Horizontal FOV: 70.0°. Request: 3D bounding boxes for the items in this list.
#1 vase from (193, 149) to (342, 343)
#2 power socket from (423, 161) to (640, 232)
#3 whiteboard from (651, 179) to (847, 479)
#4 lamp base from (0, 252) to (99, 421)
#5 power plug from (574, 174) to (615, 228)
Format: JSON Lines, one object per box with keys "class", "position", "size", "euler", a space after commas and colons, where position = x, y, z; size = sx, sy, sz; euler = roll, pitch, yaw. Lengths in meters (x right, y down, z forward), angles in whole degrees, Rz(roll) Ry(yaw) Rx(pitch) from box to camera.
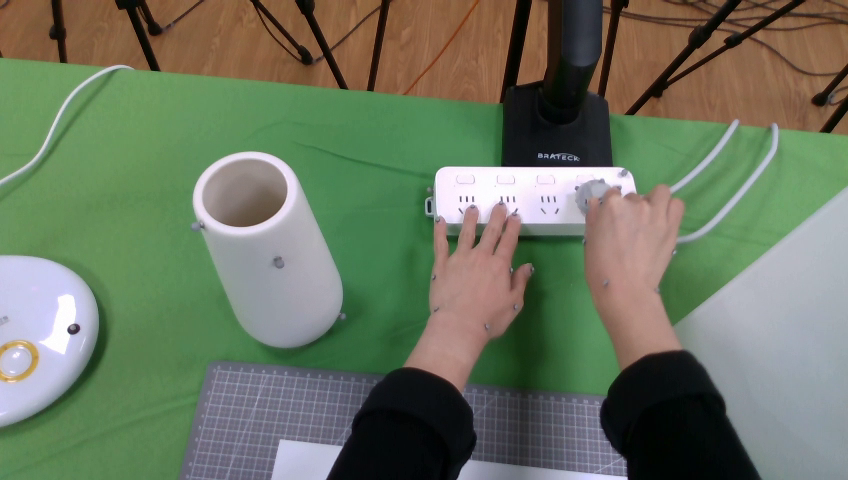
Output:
{"class": "vase", "position": [-0.124, 0.012, 0.494], "size": [0.098, 0.201, 0.097], "euler": [0, 61, 0]}
{"class": "power socket", "position": [0.113, -0.045, 0.629], "size": [0.227, 0.033, 0.071], "euler": [1, 62, -3]}
{"class": "whiteboard", "position": [0.373, 0.069, 0.459], "size": [0.144, 0.307, 0.215], "euler": [-15, 61, -31]}
{"class": "lamp base", "position": [-0.383, 0.039, 0.478], "size": [0.178, 0.181, 0.160], "euler": [35, 65, 19]}
{"class": "power plug", "position": [0.164, -0.033, 0.595], "size": [0.035, 0.053, 0.072], "euler": [9, 59, 5]}
